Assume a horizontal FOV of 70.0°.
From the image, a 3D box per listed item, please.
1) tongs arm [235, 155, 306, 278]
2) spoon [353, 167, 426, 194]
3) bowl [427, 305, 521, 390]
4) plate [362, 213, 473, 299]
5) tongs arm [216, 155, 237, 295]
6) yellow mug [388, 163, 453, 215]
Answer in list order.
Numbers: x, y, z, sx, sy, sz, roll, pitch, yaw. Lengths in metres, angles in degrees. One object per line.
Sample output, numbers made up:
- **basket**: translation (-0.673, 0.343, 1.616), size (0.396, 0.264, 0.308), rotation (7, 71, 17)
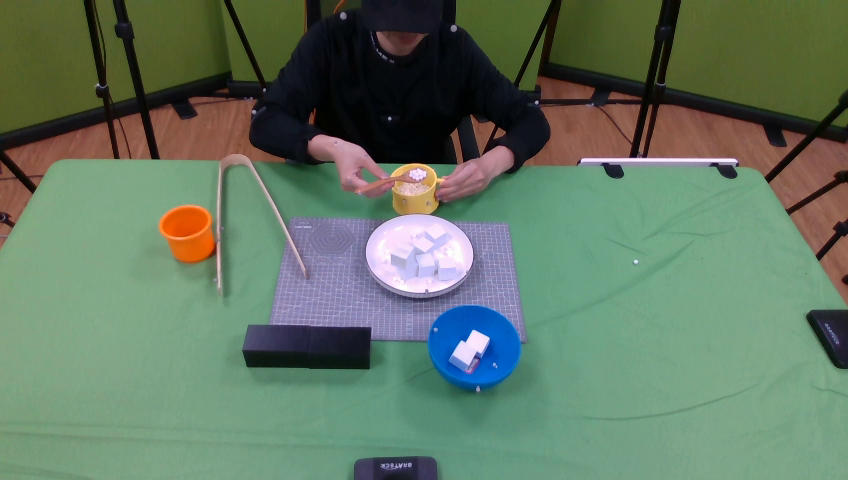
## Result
- **tongs arm**: translation (-0.312, -0.059, 1.223), size (0.028, 0.028, 0.385), rotation (-22, 50, -18)
- **spoon**: translation (-0.065, -0.113, 1.151), size (0.041, 0.022, 0.194), rotation (41, 35, 24)
- **bowl**: translation (0.076, 0.188, 0.985), size (0.151, 0.077, 0.150), rotation (3, 46, -3)
- **plate**: translation (-0.013, 0.034, 1.150), size (0.208, 0.039, 0.206), rotation (2, 46, -2)
- **tongs arm**: translation (-0.388, -0.043, 1.201), size (0.051, 0.026, 0.382), rotation (-10, 46, -12)
- **yellow mug**: translation (-0.006, -0.104, 1.256), size (0.131, 0.064, 0.099), rotation (-3, 48, 3)
